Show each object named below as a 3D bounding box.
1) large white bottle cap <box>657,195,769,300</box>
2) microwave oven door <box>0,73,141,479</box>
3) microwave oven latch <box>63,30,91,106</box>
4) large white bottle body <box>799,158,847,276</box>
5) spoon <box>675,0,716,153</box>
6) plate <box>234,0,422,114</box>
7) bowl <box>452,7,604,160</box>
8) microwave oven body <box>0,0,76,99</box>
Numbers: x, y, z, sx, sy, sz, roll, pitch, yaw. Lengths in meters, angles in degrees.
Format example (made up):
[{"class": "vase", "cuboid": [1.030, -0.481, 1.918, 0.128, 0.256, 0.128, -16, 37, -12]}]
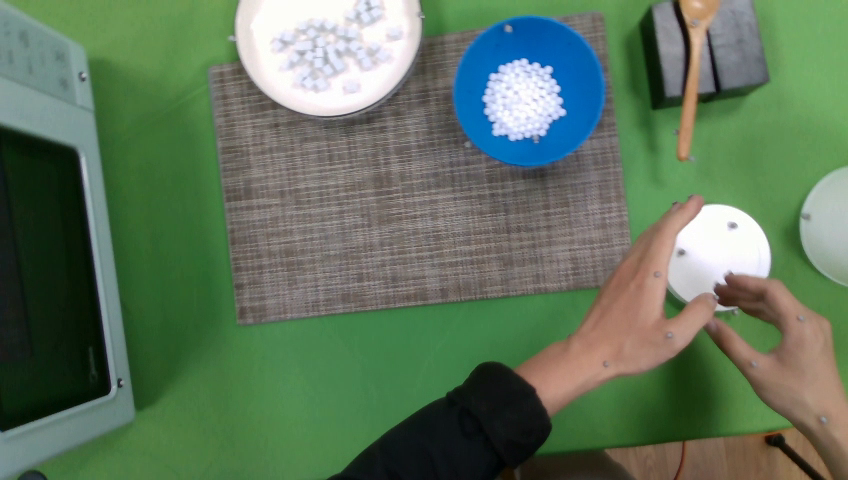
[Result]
[{"class": "large white bottle cap", "cuboid": [0.313, 0.008, 0.656, 0.115, 0.018, 0.114, 0, 89, 2]}, {"class": "microwave oven door", "cuboid": [-0.372, 0.024, 0.571, 0.039, 0.244, 0.355, -10, 88, 4]}, {"class": "microwave oven latch", "cuboid": [-0.397, -0.190, 0.677, 0.030, 0.029, 0.079, -9, 89, 3]}, {"class": "large white bottle body", "cuboid": [0.460, -0.027, 0.564, 0.130, 0.185, 0.130, 0, 88, 4]}, {"class": "spoon", "cuboid": [0.271, -0.186, 0.614, 0.041, 0.021, 0.194, 5, 95, -1]}, {"class": "plate", "cuboid": [-0.104, -0.238, 0.673, 0.209, 0.038, 0.208, 0, 86, 4]}, {"class": "bowl", "cuboid": [0.106, -0.154, 0.638, 0.151, 0.077, 0.151, 0, 89, 4]}, {"class": "microwave oven body", "cuboid": [-0.522, 0.005, 0.586, 0.326, 0.260, 0.441, -9, 89, 3]}]
